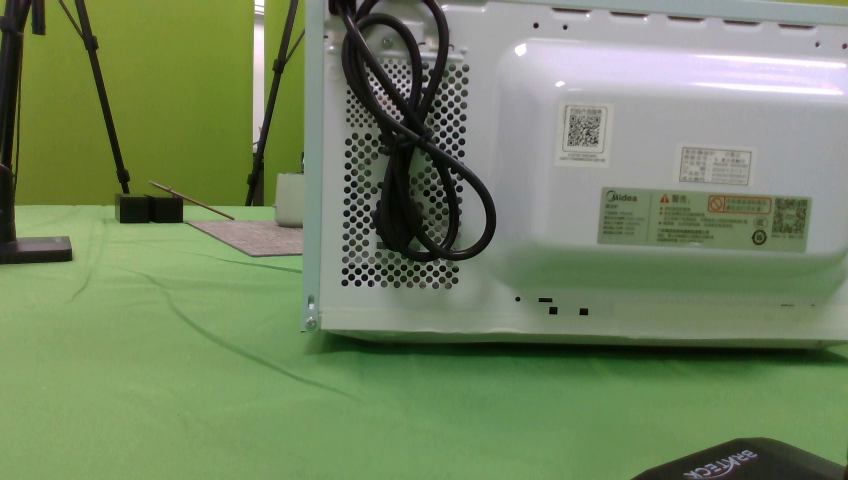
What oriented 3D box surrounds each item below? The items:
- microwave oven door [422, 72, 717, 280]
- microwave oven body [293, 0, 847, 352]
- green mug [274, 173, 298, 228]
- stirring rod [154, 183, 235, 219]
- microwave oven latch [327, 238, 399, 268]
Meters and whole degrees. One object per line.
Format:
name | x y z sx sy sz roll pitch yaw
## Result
microwave oven door | 0.171 -0.088 0.776 0.354 0.243 0.039 5 7 23
microwave oven body | 0.122 -0.055 0.550 0.442 0.260 0.325 3 7 -5
green mug | -0.242 -0.081 1.221 0.092 0.105 0.126 8 9 39
stirring rod | -0.472 -0.079 1.252 0.177 0.006 0.014 27 4 -35
microwave oven latch | -0.069 0.015 0.694 0.079 0.029 0.030 3 7 -2
